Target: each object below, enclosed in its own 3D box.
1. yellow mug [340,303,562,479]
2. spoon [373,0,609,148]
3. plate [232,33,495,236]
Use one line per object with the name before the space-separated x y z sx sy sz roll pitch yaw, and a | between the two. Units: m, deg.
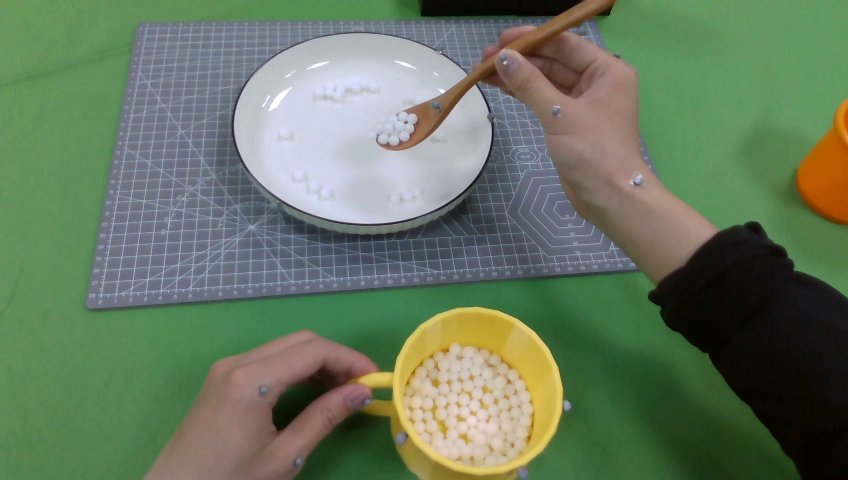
yellow mug | 0.013 0.097 0.375 0.131 0.064 0.099 3 58 -3
spoon | 0.040 -0.116 0.416 0.022 0.193 0.041 32 42 -39
plate | -0.047 -0.086 0.496 0.208 0.039 0.205 3 58 -4
